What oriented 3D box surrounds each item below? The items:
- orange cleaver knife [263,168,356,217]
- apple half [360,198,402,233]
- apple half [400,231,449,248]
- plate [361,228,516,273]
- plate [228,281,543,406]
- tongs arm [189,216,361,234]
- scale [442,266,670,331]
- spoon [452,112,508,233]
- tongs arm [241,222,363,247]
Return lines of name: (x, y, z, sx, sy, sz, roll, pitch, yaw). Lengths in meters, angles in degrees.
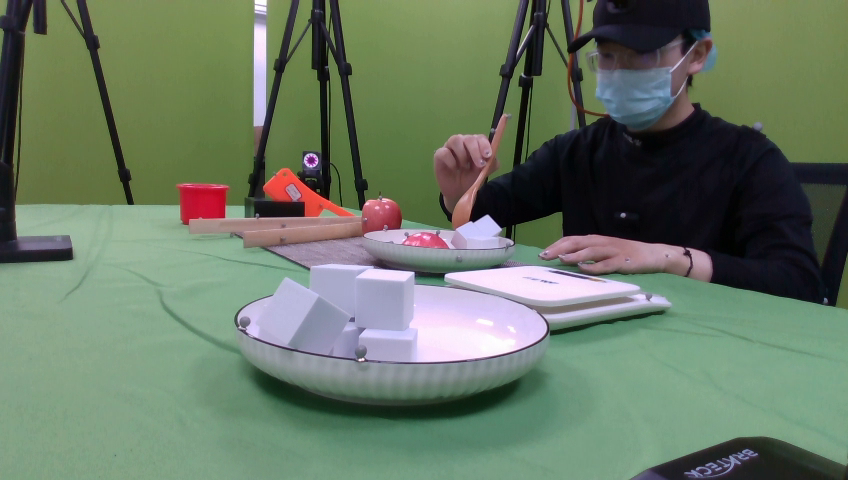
orange cleaver knife: (-0.240, -0.077, 1.294, 0.212, 0.077, 0.012, 32, -7, -26)
apple half: (-0.066, -0.033, 1.014, 0.053, 0.074, 0.081, 9, 6, 20)
apple half: (0.002, 0.005, 0.842, 0.081, 0.033, 0.081, 2, 5, 0)
plate: (0.018, 0.013, 0.818, 0.209, 0.038, 0.209, 2, 7, 0)
plate: (-0.025, 0.067, 0.413, 0.208, 0.039, 0.207, 3, 7, 0)
tongs arm: (-0.221, -0.028, 1.088, 0.387, 0.026, 0.050, -3, 8, -43)
scale: (0.131, 0.052, 0.603, 0.202, 0.031, 0.148, -3, 9, -37)
spoon: (0.083, -0.100, 0.878, 0.022, 0.193, 0.041, 32, -14, -27)
tongs arm: (-0.159, -0.016, 1.034, 0.028, 0.028, 0.389, 2, 6, 33)
